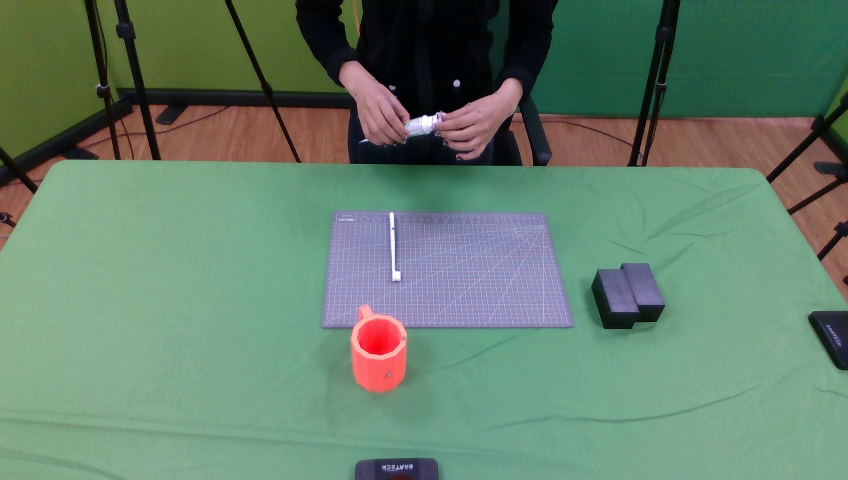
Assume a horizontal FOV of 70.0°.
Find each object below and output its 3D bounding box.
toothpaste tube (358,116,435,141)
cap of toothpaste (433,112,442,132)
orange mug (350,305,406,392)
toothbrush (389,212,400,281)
[{"bbox_3d":[-0.046,-0.211,1.164,0.165,0.034,0.055,-6,13,29],"label":"toothpaste tube"},{"bbox_3d":[0.024,-0.218,1.122,0.011,0.037,0.037,-3,44,17],"label":"cap of toothpaste"},{"bbox_3d":[-0.080,0.168,0.978,0.083,0.101,0.125,-16,54,-18],"label":"orange mug"},{"bbox_3d":[-0.059,0.010,1.186,0.017,0.014,0.180,2,46,-8],"label":"toothbrush"}]
